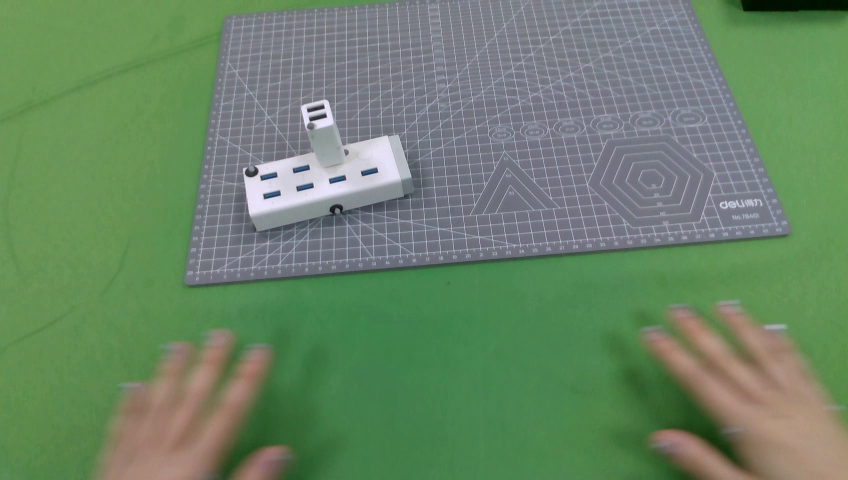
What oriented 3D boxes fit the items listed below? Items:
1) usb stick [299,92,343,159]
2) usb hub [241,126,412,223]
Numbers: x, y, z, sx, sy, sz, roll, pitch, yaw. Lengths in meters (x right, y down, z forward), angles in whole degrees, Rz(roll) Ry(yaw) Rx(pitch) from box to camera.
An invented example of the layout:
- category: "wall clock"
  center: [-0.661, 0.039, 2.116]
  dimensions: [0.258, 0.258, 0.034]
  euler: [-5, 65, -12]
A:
- category: "usb stick"
  center: [-0.075, -0.081, 0.455]
  dimensions: [0.021, 0.059, 0.027]
  euler: [-16, 59, -4]
- category: "usb hub"
  center: [-0.076, -0.053, 0.473]
  dimensions: [0.125, 0.025, 0.049]
  euler: [-14, 60, -6]
